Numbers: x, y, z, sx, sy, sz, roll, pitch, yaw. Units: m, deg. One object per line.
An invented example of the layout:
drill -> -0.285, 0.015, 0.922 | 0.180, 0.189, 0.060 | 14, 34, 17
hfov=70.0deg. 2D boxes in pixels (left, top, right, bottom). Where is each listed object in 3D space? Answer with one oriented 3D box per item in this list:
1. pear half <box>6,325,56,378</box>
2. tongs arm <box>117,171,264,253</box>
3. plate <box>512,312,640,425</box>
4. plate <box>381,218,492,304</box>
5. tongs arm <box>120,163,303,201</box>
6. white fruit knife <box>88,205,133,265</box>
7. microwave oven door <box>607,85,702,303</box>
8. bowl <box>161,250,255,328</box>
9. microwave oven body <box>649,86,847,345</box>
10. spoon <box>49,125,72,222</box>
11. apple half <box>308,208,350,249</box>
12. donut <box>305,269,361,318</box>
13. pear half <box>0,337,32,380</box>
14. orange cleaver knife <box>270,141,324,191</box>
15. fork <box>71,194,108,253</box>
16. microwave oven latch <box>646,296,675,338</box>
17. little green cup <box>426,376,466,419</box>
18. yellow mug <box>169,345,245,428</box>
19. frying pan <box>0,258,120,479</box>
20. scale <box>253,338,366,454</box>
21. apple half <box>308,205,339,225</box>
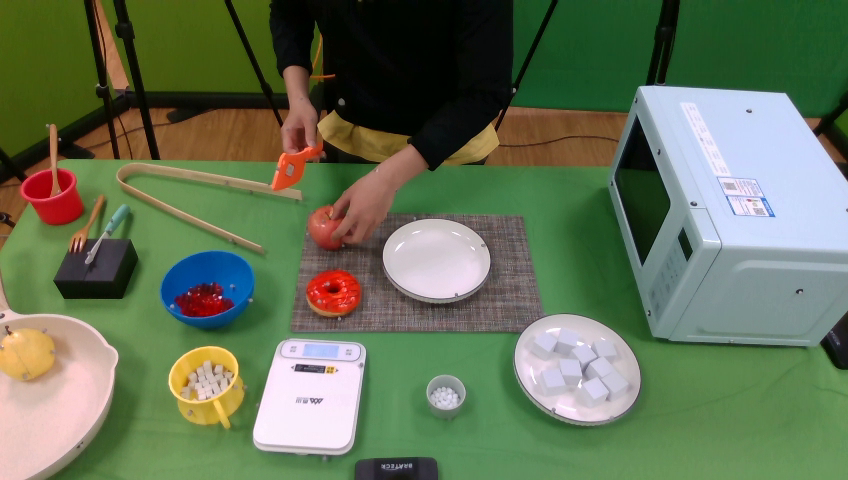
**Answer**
pear half -> -0.608, 0.158, 0.935 | 0.076, 0.110, 0.056 | 31, 51, 20
tongs arm -> -0.473, -0.056, 1.210 | 0.386, 0.028, 0.028 | 23, 56, 17
plate -> 0.246, 0.213, 0.999 | 0.208, 0.039, 0.206 | 2, 46, -2
plate -> 0.023, 0.042, 1.143 | 0.209, 0.038, 0.208 | 2, 46, -2
tongs arm -> -0.444, -0.115, 1.266 | 0.384, 0.026, 0.050 | 12, 50, 8
white fruit knife -> -0.584, -0.013, 1.129 | 0.016, 0.027, 0.206 | 0, 32, -5
microwave oven door -> 0.423, -0.094, 1.140 | 0.039, 0.245, 0.353 | 2, 46, -1
bowl -> -0.362, 0.098, 1.039 | 0.151, 0.077, 0.150 | 2, 45, -2
microwave oven body -> 0.568, -0.053, 1.118 | 0.326, 0.261, 0.439 | 2, 45, -1
spoon -> -0.718, -0.131, 1.189 | 0.041, 0.021, 0.193 | -4, 90, -6
apple half -> -0.175, -0.015, 1.159 | 0.081, 0.075, 0.053 | -22, 56, -29
donut -> -0.160, 0.094, 1.075 | 0.099, 0.048, 0.098 | 4, 45, -3
pear half -> -0.631, 0.184, 0.921 | 0.070, 0.088, 0.031 | 29, 49, 19
orange cleaver knife -> -0.235, -0.141, 1.133 | 0.012, 0.077, 0.211 | 21, 22, 5
fork -> -0.634, -0.036, 1.158 | 0.028, 0.019, 0.206 | -8, 32, -8
microwave oven latch -> 0.412, 0.134, 1.061 | 0.030, 0.029, 0.078 | 4, 45, 1
little green cup -> 0.033, 0.248, 0.950 | 0.061, 0.039, 0.061 | 2, 46, -2
yellow mug -> -0.322, 0.230, 0.922 | 0.100, 0.064, 0.130 | -24, 53, -25
frying pan -> -0.647, 0.164, 0.936 | 0.307, 0.103, 0.485 | -19, 58, -22
scale -> -0.175, 0.236, 0.951 | 0.149, 0.032, 0.199 | 5, 45, -1
apple half -> -0.197, -0.039, 1.178 | 0.081, 0.081, 0.032 | -26, 57, -26
